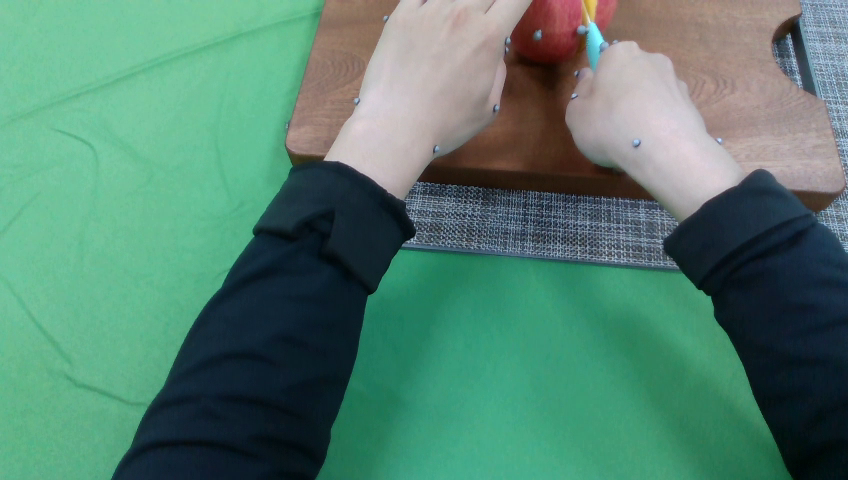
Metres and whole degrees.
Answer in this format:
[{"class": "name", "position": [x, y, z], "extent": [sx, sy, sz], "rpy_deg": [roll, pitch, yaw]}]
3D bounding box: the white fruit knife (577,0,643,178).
[{"class": "white fruit knife", "position": [0.118, -0.140, 0.437], "extent": [0.016, 0.027, 0.205], "rpy_deg": [-12, 67, -1]}]

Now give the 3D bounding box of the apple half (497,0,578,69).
[{"class": "apple half", "position": [0.082, -0.172, 0.462], "extent": [0.053, 0.075, 0.080], "rpy_deg": [-9, 64, 2]}]

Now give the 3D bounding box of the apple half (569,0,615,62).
[{"class": "apple half", "position": [0.126, -0.179, 0.465], "extent": [0.033, 0.082, 0.080], "rpy_deg": [-9, 60, -9]}]
